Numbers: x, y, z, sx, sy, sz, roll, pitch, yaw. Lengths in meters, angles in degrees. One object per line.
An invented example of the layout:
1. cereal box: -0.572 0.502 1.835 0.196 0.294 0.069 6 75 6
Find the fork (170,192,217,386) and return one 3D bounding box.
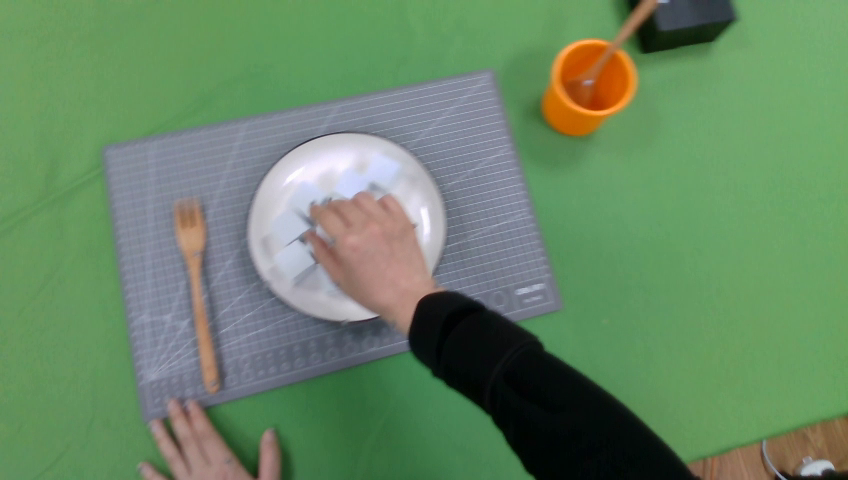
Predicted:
1. fork: -0.238 0.049 0.631 0.028 0.019 0.206 -11 77 -12

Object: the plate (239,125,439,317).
1. plate: -0.089 -0.020 0.650 0.208 0.039 0.206 1 78 -5

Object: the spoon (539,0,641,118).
1. spoon: 0.193 -0.215 0.664 0.041 0.194 0.021 44 34 10
